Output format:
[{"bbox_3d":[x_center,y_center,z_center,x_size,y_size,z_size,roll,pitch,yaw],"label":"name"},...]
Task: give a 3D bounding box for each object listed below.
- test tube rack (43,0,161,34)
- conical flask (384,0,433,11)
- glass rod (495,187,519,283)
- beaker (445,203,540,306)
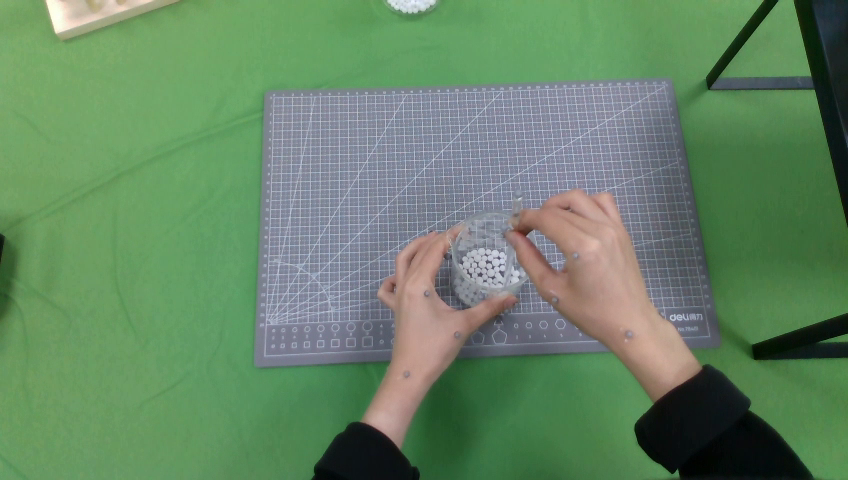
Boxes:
[{"bbox_3d":[-0.314,-0.318,0.666,0.242,0.085,0.066,-23,74,-8],"label":"test tube rack"},{"bbox_3d":[-0.018,-0.314,0.651,0.075,0.122,0.075,0,72,0],"label":"conical flask"},{"bbox_3d":[0.068,0.002,0.504,0.008,0.201,0.008,-1,68,3],"label":"glass rod"},{"bbox_3d":[0.057,0.017,0.559,0.084,0.101,0.073,22,73,7],"label":"beaker"}]
